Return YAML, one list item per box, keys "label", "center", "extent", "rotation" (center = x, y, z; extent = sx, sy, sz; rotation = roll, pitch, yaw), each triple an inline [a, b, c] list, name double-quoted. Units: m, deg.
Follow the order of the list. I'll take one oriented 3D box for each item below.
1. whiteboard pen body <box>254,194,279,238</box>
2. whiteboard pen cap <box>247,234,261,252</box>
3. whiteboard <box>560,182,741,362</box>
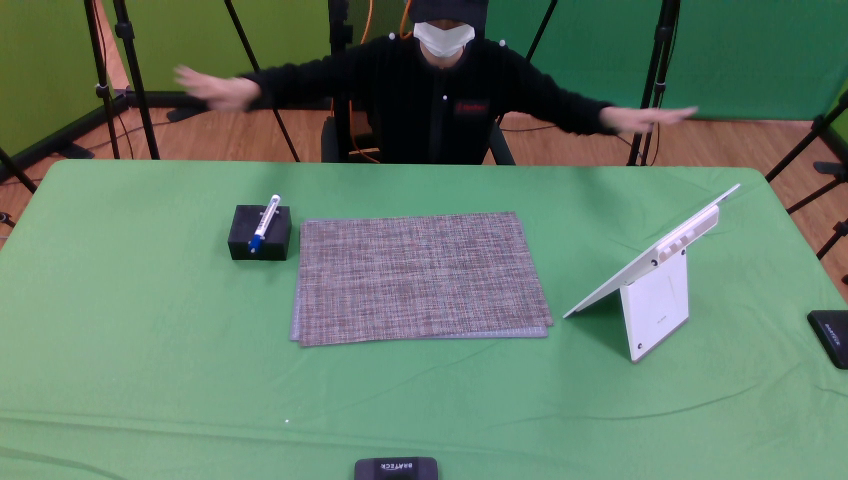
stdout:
- label: "whiteboard pen body"
  center: [-0.300, -0.038, 1.145]
  extent: [0.017, 0.017, 0.140]
  rotation: [8, 46, 3]
- label: "whiteboard pen cap"
  center: [-0.308, 0.005, 1.103]
  extent: [0.018, 0.018, 0.033]
  rotation: [8, 45, 3]
- label: "whiteboard"
  center: [0.406, 0.075, 1.001]
  extent: [0.217, 0.306, 0.143]
  rotation: [-28, 73, -28]
